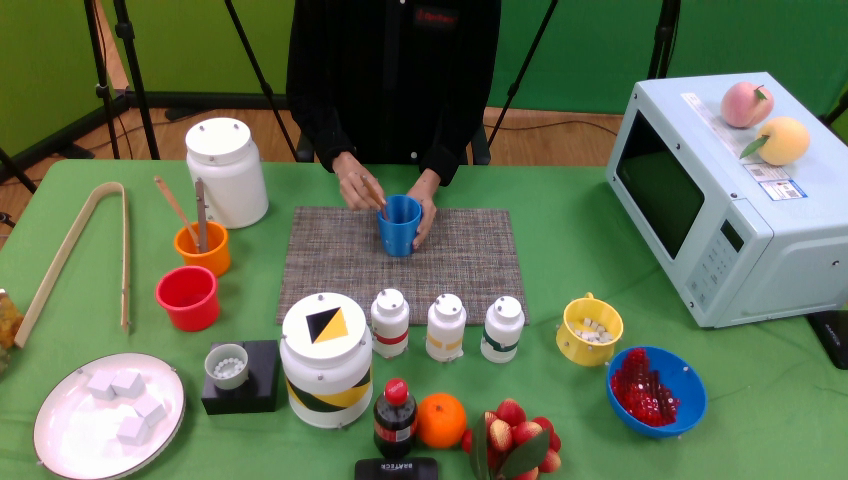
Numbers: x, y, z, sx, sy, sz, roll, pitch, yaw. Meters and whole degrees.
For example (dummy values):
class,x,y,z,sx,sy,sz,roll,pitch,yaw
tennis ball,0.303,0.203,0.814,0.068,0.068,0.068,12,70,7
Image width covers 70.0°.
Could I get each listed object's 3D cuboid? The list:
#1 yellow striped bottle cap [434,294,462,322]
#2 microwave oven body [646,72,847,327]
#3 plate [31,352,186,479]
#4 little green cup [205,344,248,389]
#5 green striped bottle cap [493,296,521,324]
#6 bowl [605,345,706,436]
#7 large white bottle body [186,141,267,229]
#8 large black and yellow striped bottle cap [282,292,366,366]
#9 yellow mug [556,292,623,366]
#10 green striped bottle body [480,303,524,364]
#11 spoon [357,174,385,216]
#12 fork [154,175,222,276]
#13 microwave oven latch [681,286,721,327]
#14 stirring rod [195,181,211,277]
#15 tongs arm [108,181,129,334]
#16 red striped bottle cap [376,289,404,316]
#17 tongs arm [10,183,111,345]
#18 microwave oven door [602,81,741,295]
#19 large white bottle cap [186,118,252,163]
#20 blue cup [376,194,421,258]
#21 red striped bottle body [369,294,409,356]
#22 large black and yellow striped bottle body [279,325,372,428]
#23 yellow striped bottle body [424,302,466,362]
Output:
class,x,y,z,sx,sy,sz,roll,pitch,yaw
yellow striped bottle cap,0.038,0.107,0.958,0.044,0.019,0.044,2,45,-2
microwave oven body,0.607,-0.089,1.163,0.326,0.261,0.438,-7,46,-10
plate,-0.459,0.262,0.898,0.209,0.038,0.208,2,46,-2
little green cup,-0.293,0.191,0.909,0.061,0.039,0.061,1,47,-1
green striped bottle cap,0.133,0.111,0.962,0.044,0.020,0.044,2,47,-2
bowl,0.351,0.247,0.950,0.151,0.077,0.150,2,46,-2
large white bottle body,-0.382,-0.127,1.175,0.131,0.185,0.130,2,47,-2
large black and yellow striped bottle cap,-0.138,0.121,0.841,0.115,0.019,0.114,3,47,-3
yellow mug,0.285,0.145,1.051,0.100,0.064,0.130,7,46,4
green striped bottle body,0.129,0.147,1.000,0.063,0.120,0.063,2,46,-2
spoon,-0.083,-0.056,1.114,0.021,0.195,0.041,-34,48,-12
fork,-0.431,-0.027,1.101,0.028,0.018,0.207,-33,100,-25
microwave oven latch,0.494,0.119,1.086,0.030,0.029,0.078,-5,46,-9
stirring rod,-0.403,-0.020,1.104,0.014,0.006,0.176,-6,89,-8
tongs arm,-0.571,0.019,1.123,0.051,0.026,0.382,-11,47,-12
red striped bottle cap,-0.054,0.098,0.958,0.044,0.018,0.044,0,48,1
tongs arm,-0.658,0.027,1.109,0.028,0.028,0.385,-2,45,2
microwave oven door,0.456,-0.107,1.162,0.039,0.245,0.353,-7,47,-11
large white bottle cap,-0.377,-0.185,1.115,0.115,0.018,0.114,2,47,-2
blue cup,-0.052,-0.021,1.156,0.093,0.100,0.092,4,45,-4
red striped bottle body,-0.059,0.134,0.997,0.063,0.120,0.062,5,48,-5
large black and yellow striped bottle body,-0.143,0.181,0.900,0.131,0.185,0.130,2,46,-2
yellow striped bottle body,0.035,0.143,0.995,0.063,0.121,0.062,3,46,-3
